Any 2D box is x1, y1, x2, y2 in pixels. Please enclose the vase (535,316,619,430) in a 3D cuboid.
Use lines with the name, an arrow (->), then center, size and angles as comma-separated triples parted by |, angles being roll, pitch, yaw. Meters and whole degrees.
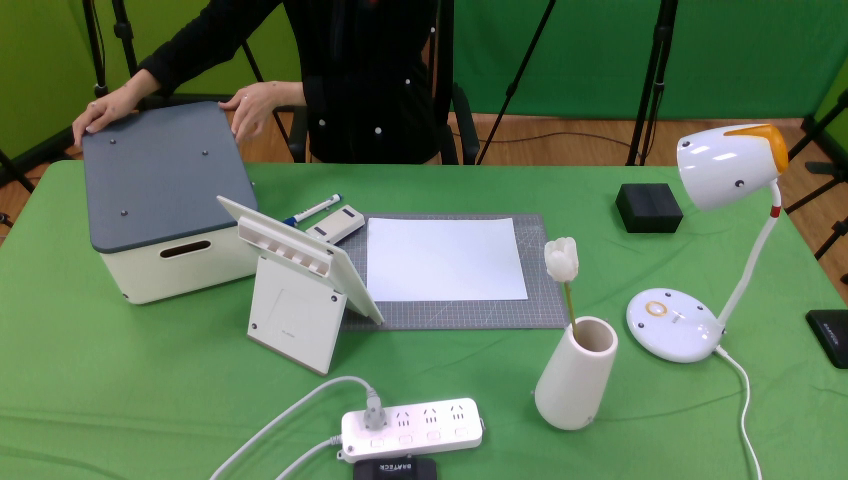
vase -> 0.229, 0.200, 0.901 | 0.098, 0.201, 0.097 | 3, 46, -3

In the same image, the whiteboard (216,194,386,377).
whiteboard -> -0.212, 0.093, 0.938 | 0.216, 0.307, 0.143 | 24, 70, 17

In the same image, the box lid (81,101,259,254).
box lid -> -0.461, -0.127, 1.082 | 0.264, 0.015, 0.369 | -15, 49, -19

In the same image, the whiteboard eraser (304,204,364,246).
whiteboard eraser -> -0.175, -0.022, 1.187 | 0.055, 0.042, 0.112 | 36, 53, 26

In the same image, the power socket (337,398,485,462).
power socket -> -0.018, 0.285, 0.914 | 0.227, 0.033, 0.071 | -4, 46, -8

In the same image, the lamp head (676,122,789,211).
lamp head -> 0.423, -0.104, 0.819 | 0.122, 0.113, 0.112 | -13, 33, 40

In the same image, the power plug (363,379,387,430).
power plug -> -0.072, 0.252, 0.911 | 0.035, 0.053, 0.072 | 3, 40, 0

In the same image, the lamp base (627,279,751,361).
lamp base -> 0.459, 0.100, 1.027 | 0.178, 0.181, 0.160 | 27, 51, 17

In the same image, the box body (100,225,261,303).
box body -> -0.465, -0.077, 1.138 | 0.254, 0.161, 0.361 | -16, 49, -18

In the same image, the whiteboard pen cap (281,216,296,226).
whiteboard pen cap -> -0.273, -0.034, 1.213 | 0.033, 0.018, 0.018 | -32, 56, -31

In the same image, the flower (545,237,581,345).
flower -> 0.213, 0.137, 0.846 | 0.038, 0.364, 0.044 | 21, 55, 39

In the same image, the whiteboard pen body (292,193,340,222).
whiteboard pen body -> -0.231, -0.062, 1.243 | 0.141, 0.017, 0.017 | -32, 56, -30
